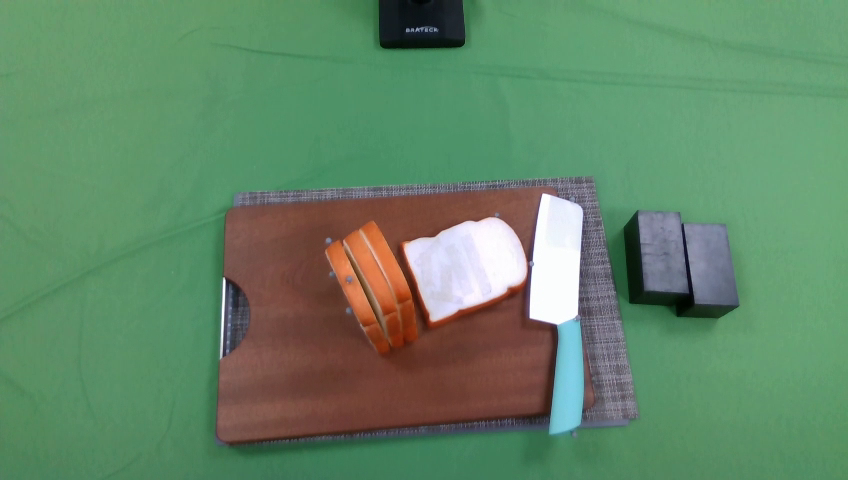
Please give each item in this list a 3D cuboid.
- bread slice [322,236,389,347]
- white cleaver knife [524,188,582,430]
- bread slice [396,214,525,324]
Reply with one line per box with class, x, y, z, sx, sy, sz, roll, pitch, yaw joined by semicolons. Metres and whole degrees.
bread slice;-0.072;0.052;0.621;0.019;0.132;0.104;-27;70;-6
white cleaver knife;0.145;0.069;0.684;0.066;0.021;0.284;9;63;-3
bread slice;0.046;0.027;0.690;0.134;0.018;0.106;-16;73;-3
